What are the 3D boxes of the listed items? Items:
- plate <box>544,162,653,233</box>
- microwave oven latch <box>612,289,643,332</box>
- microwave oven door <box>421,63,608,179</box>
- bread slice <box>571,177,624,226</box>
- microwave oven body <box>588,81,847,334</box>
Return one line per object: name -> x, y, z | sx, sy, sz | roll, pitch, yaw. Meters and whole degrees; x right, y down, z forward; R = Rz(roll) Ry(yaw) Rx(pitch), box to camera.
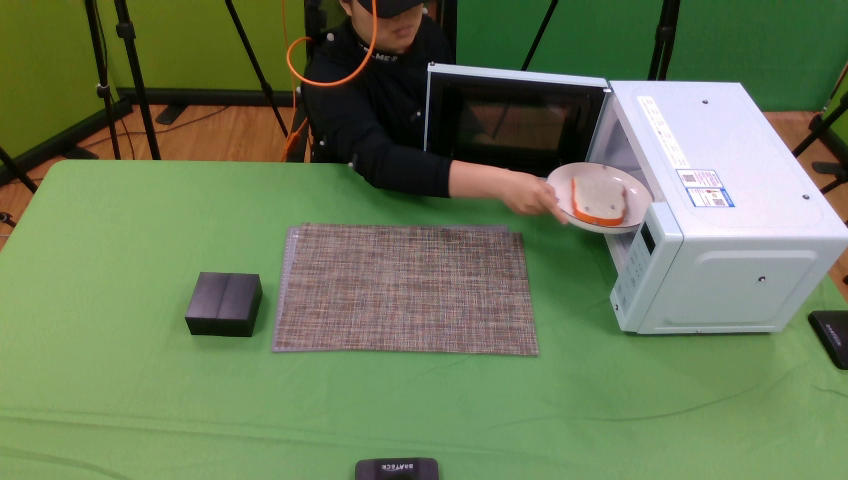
plate -> 0.333, -0.078, 1.168 | 0.209, 0.038, 0.208 | 4, 41, -3
microwave oven latch -> 0.357, 0.124, 1.068 | 0.030, 0.029, 0.078 | 0, 45, -3
microwave oven door -> 0.178, -0.241, 1.268 | 0.356, 0.245, 0.039 | 5, 46, 1
bread slice -> 0.337, -0.076, 1.170 | 0.105, 0.019, 0.131 | 10, 41, 5
microwave oven body -> 0.501, -0.070, 1.132 | 0.326, 0.261, 0.438 | -1, 45, -3
